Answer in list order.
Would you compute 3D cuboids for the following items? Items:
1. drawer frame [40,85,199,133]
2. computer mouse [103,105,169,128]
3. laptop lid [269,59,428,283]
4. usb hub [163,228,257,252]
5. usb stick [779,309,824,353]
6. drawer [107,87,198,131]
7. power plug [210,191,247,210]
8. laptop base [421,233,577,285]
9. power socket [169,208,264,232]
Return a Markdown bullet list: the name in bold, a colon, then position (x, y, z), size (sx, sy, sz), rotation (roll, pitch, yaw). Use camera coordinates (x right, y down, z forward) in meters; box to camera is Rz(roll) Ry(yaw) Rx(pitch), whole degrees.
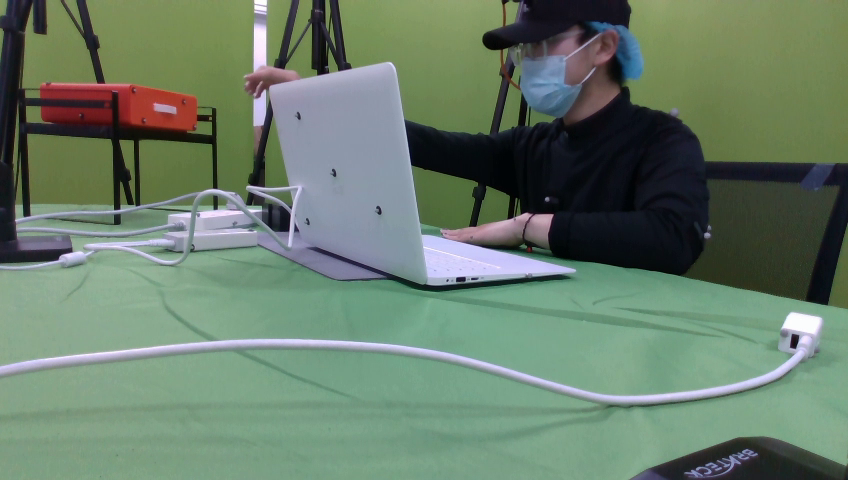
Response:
- **drawer frame**: position (-0.612, -0.266, 1.235), size (0.213, 0.082, 0.202), rotation (4, 8, 15)
- **computer mouse**: position (-0.581, -0.249, 1.223), size (0.118, 0.041, 0.062), rotation (2, 3, -39)
- **laptop lid**: position (-0.110, -0.087, 0.752), size (0.013, 0.241, 0.355), rotation (-18, 19, -30)
- **usb hub**: position (-0.314, -0.001, 0.894), size (0.049, 0.025, 0.126), rotation (9, 10, 41)
- **usb stick**: position (0.311, 0.072, 0.496), size (0.027, 0.021, 0.059), rotation (8, 15, 34)
- **drawer**: position (-0.609, -0.265, 1.236), size (0.211, 0.073, 0.195), rotation (4, 8, 16)
- **power plug**: position (-0.386, -0.071, 1.204), size (0.072, 0.052, 0.035), rotation (7, 11, 25)
- **laptop base**: position (0.007, 0.022, 0.850), size (0.237, 0.023, 0.352), rotation (1, 7, -34)
- **power socket**: position (-0.381, -0.038, 1.128), size (0.072, 0.032, 0.227), rotation (3, 8, 17)
